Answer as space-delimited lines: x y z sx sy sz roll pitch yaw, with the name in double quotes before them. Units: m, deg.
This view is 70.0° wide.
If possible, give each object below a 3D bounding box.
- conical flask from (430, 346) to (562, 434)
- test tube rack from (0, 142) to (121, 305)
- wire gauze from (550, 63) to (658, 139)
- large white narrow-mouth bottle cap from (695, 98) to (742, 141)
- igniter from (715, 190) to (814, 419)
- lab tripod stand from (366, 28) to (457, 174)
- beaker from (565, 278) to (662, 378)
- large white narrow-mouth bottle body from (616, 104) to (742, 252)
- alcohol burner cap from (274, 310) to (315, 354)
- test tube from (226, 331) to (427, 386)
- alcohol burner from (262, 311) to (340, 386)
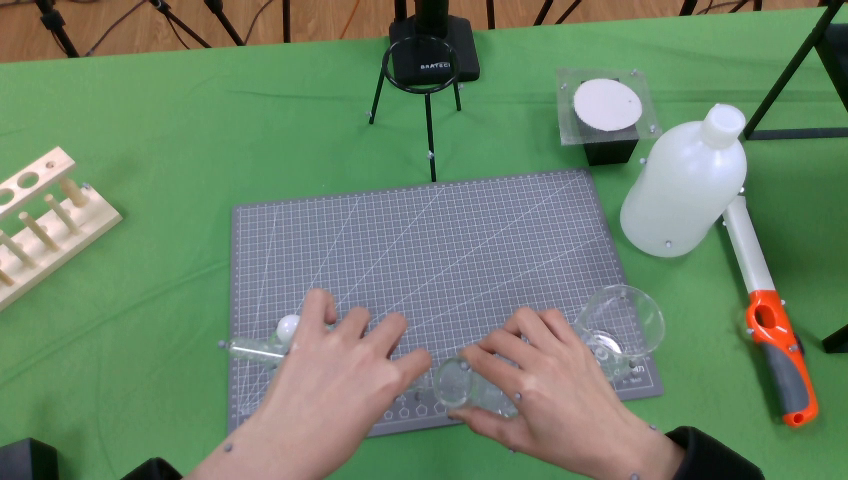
"conical flask" 0.054 0.115 0.485 0.075 0.123 0.075 -13 67 34
"test tube rack" -0.468 0.008 0.659 0.066 0.086 0.242 38 67 18
"wire gauze" 0.224 -0.178 0.764 0.121 0.011 0.124 0 61 -1
"large white narrow-mouth bottle cap" 0.282 -0.116 0.582 0.038 0.024 0.037 0 61 0
"igniter" 0.376 0.062 0.680 0.057 0.025 0.274 3 60 -11
"lab tripod stand" -0.006 -0.175 0.743 0.148 0.132 0.147 1 62 -2
"beaker" 0.184 0.094 0.614 0.084 0.101 0.073 -2 61 -1
"large white narrow-mouth bottle body" 0.281 -0.072 0.657 0.102 0.196 0.101 0 60 0
"alcohol burner cap" -0.123 0.084 0.564 0.034 0.048 0.033 -1 61 3
"test tube" -0.072 0.085 0.441 0.150 0.017 0.017 10 61 4
"alcohol burner" -0.122 0.100 0.596 0.078 0.120 0.077 1 59 -2
